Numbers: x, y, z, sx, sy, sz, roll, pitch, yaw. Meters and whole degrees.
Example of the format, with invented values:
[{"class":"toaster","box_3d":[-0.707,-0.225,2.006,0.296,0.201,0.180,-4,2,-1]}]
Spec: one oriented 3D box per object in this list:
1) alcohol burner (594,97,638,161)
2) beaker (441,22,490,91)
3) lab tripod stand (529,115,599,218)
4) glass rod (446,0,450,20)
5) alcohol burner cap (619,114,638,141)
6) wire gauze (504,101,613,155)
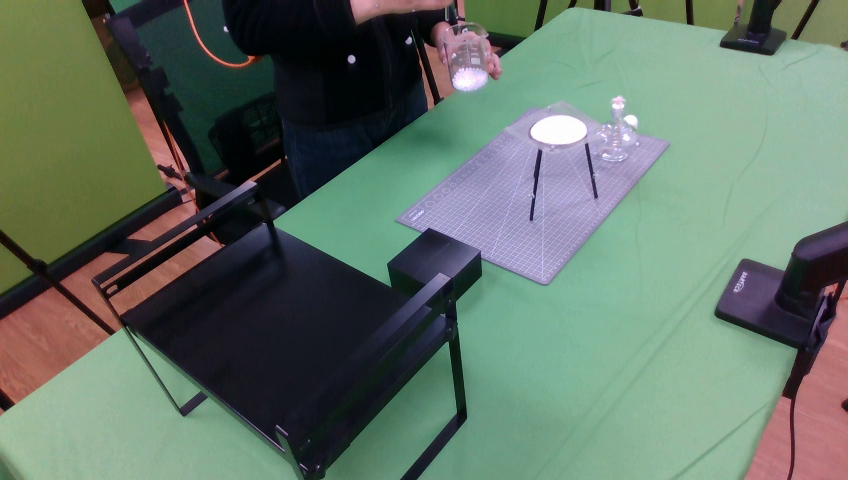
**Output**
[{"class":"alcohol burner","box_3d":[0.345,-0.203,1.083,0.078,0.119,0.077,-5,42,5]},{"class":"beaker","box_3d":[0.079,-0.324,1.075,0.083,0.101,0.074,3,48,18]},{"class":"lab tripod stand","box_3d":[0.217,-0.123,0.995,0.148,0.132,0.147,-4,42,4]},{"class":"glass rod","box_3d":[0.038,-0.427,0.949,0.008,0.200,0.008,-1,59,2]},{"class":"alcohol burner cap","box_3d":[0.389,-0.215,1.145,0.034,0.048,0.033,-4,40,4]},{"class":"wire gauze","box_3d":[0.211,-0.177,0.955,0.125,0.011,0.120,-24,44,-18]}]
